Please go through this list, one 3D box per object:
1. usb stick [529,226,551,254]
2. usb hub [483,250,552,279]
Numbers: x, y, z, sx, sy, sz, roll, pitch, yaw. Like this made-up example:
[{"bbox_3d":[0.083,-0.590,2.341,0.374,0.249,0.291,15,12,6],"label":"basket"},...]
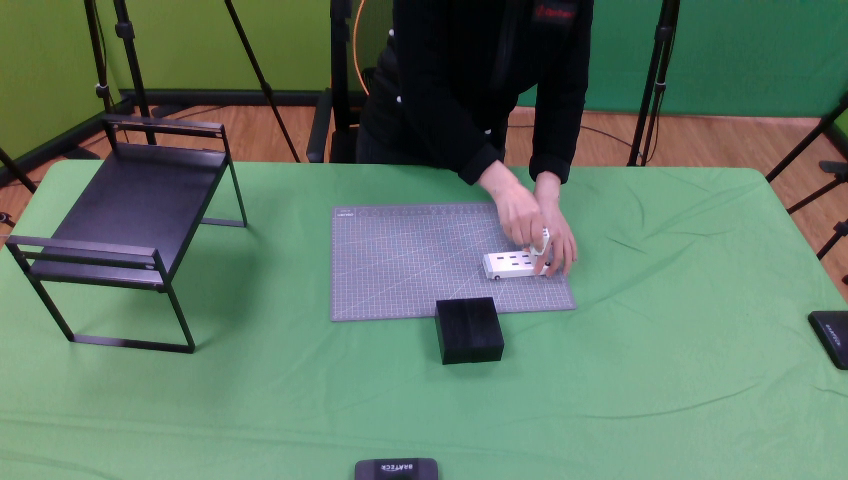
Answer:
[{"bbox_3d":[0.194,0.005,1.024,0.021,0.059,0.027,1,47,-12],"label":"usb stick"},{"bbox_3d":[0.179,0.046,1.159,0.125,0.025,0.049,-4,48,-8],"label":"usb hub"}]
